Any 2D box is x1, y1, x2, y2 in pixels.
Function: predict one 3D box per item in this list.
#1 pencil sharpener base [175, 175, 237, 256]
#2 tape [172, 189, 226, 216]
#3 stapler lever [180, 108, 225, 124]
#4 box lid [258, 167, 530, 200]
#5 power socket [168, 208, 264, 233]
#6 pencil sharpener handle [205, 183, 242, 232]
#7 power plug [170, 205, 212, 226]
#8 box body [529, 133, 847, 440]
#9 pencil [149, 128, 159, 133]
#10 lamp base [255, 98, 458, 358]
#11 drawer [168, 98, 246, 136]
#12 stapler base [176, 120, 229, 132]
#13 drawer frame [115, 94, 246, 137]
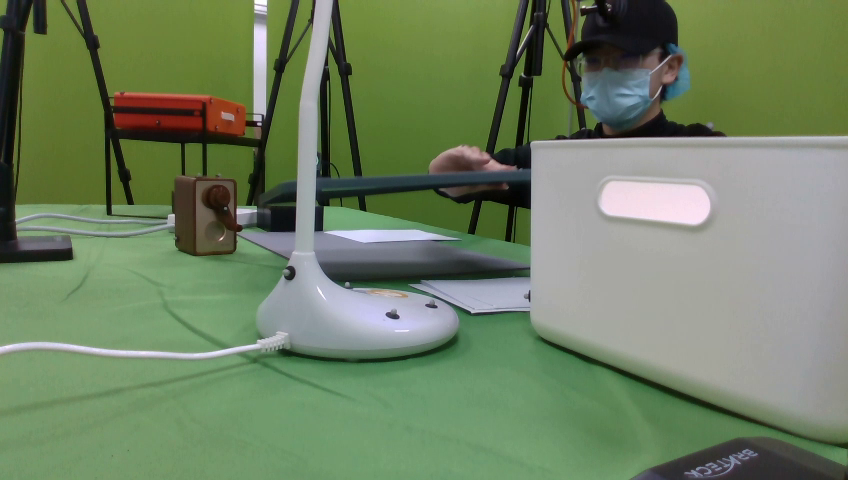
[{"bbox_3d":[-0.304,-0.036,0.847,0.062,0.107,0.076,-4,10,-42],"label":"pencil sharpener base"},{"bbox_3d":[-0.515,-0.087,1.388,0.117,0.052,0.117,3,8,0],"label":"tape"},{"bbox_3d":[-0.496,-0.281,1.359,0.027,0.040,0.118,2,7,22],"label":"stapler lever"},{"bbox_3d":[-0.007,-0.070,0.753,0.373,0.015,0.262,-6,4,-21],"label":"box lid"},{"bbox_3d":[-0.381,-0.038,1.129,0.072,0.032,0.227,4,8,17],"label":"power socket"},{"bbox_3d":[-0.265,-0.043,0.813,0.036,0.068,0.030,-32,28,-35],"label":"pencil sharpener handle"},{"bbox_3d":[-0.455,-0.041,1.196,0.052,0.035,0.072,1,42,23],"label":"power plug"},{"bbox_3d":[0.287,0.007,0.473,0.366,0.160,0.253,-3,8,-33],"label":"box body"},{"bbox_3d":[-0.528,-0.258,1.361,0.012,0.012,0.195,8,20,35],"label":"pencil"},{"bbox_3d":[-0.056,-0.013,0.462,0.160,0.180,0.180,6,11,27],"label":"lamp base"},{"bbox_3d":[-0.539,-0.279,1.374,0.212,0.073,0.194,2,8,5],"label":"drawer"},{"bbox_3d":[-0.496,-0.257,1.364,0.041,0.024,0.131,2,9,22],"label":"stapler base"},{"bbox_3d":[-0.543,-0.281,1.374,0.213,0.082,0.201,2,8,4],"label":"drawer frame"}]
